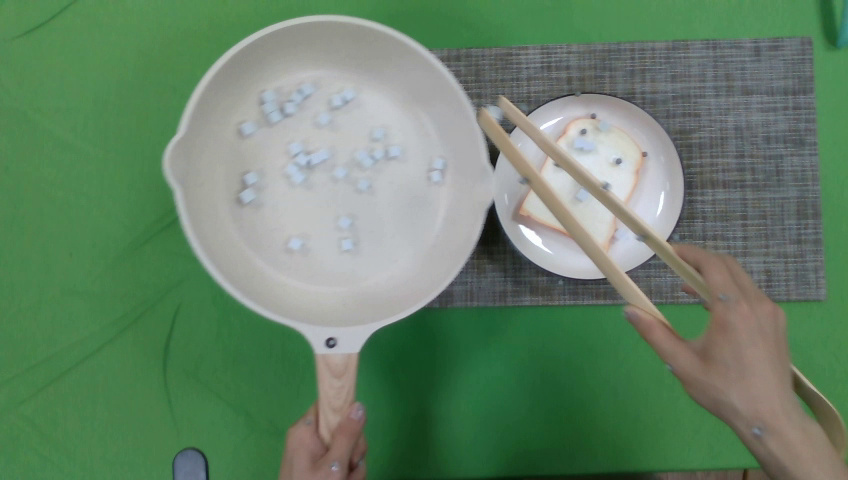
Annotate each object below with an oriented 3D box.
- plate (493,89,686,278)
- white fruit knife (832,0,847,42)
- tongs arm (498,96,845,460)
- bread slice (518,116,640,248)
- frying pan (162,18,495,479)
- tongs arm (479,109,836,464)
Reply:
[{"bbox_3d":[0.180,-0.061,0.674,0.207,0.039,0.207,0,86,3],"label":"plate"},{"bbox_3d":[0.467,-0.327,0.660,0.016,0.027,0.208,-1,100,1],"label":"white fruit knife"},{"bbox_3d":[0.190,0.024,0.499,0.383,0.026,0.050,43,74,7],"label":"tongs arm"},{"bbox_3d":[0.177,-0.069,0.676,0.107,0.018,0.134,22,90,3],"label":"bread slice"},{"bbox_3d":[-0.083,0.043,0.571,0.308,0.102,0.486,2,80,-17],"label":"frying pan"},{"bbox_3d":[0.176,0.035,0.495,0.028,0.028,0.386,-38,81,-19],"label":"tongs arm"}]
